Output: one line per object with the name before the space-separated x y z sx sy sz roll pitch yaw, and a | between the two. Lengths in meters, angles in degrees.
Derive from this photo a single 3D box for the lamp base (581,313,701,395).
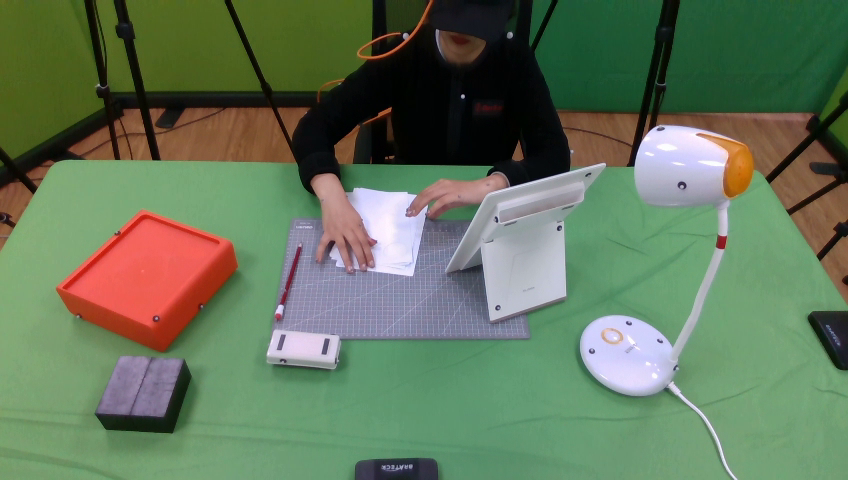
lamp base | 0.361 0.144 0.973 0.178 0.181 0.160 34 53 23

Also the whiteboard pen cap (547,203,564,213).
whiteboard pen cap | 0.277 -0.066 1.275 0.033 0.018 0.018 -18 50 -15

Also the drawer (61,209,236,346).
drawer | -0.474 0.061 1.062 0.194 0.073 0.211 19 48 13

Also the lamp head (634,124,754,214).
lamp head | 0.351 -0.089 0.776 0.112 0.113 0.122 -30 30 -28

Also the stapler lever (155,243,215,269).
stapler lever | -0.433 0.023 1.097 0.118 0.040 0.026 14 39 14

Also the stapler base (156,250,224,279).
stapler base | -0.431 0.040 1.110 0.130 0.024 0.041 11 38 17

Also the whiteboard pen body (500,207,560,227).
whiteboard pen body | 0.222 -0.051 1.260 0.141 0.017 0.017 -15 49 -16

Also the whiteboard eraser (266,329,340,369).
whiteboard eraser | -0.198 0.181 0.994 0.113 0.042 0.055 5 45 1

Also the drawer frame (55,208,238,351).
drawer frame | -0.474 0.062 1.059 0.201 0.083 0.213 18 48 12

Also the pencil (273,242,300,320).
pencil | -0.249 0.071 1.115 0.012 0.012 0.193 5 43 1

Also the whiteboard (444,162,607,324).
whiteboard | 0.186 0.025 1.029 0.217 0.306 0.143 -15 68 -18
